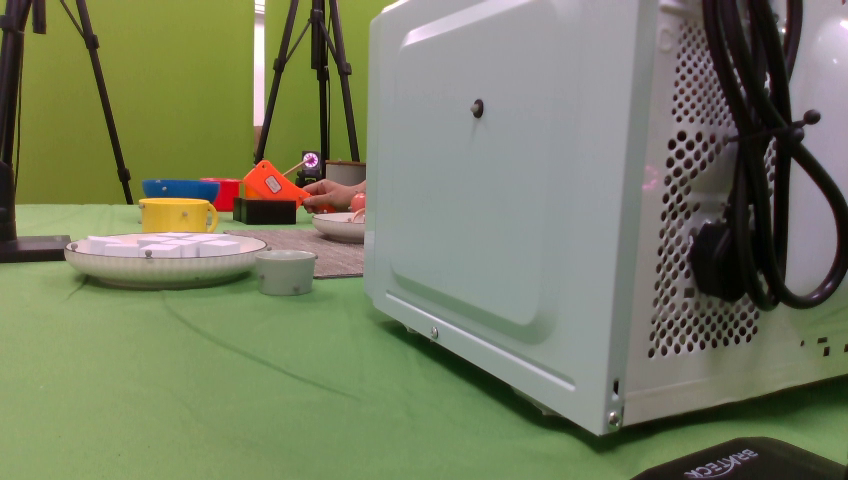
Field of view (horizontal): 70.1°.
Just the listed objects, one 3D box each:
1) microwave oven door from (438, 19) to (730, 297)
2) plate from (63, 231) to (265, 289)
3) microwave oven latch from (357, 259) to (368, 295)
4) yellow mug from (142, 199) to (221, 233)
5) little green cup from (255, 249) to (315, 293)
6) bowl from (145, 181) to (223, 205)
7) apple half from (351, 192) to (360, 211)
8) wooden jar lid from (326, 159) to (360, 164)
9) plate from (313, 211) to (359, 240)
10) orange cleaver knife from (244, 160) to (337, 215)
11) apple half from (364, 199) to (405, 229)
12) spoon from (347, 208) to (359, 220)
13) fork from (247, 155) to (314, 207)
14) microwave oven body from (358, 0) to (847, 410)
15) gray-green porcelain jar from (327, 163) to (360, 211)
[{"bbox_3d":[0.181,-0.076,0.618,0.358,0.243,0.039,-2,8,-28],"label":"microwave oven door"},{"bbox_3d":[-0.288,0.021,0.687,0.208,0.039,0.207,2,8,0],"label":"plate"},{"bbox_3d":[-0.019,0.031,0.529,0.079,0.029,0.030,-1,7,-26],"label":"microwave oven latch"},{"bbox_3d":[-0.373,-0.030,0.948,0.099,0.064,0.131,6,7,30],"label":"yellow mug"},{"bbox_3d":[-0.144,0.032,0.627,0.061,0.038,0.061,2,5,0],"label":"little green cup"},{"bbox_3d":[-0.499,-0.081,1.261,0.151,0.077,0.151,2,8,0],"label":"bowl"},{"bbox_3d":[-0.105,-0.065,1.260,0.081,0.074,0.053,1,10,-34],"label":"apple half"},{"bbox_3d":[-0.185,-0.187,1.481,0.108,0.020,0.108,4,6,0],"label":"wooden jar lid"},{"bbox_3d":[-0.091,-0.026,1.063,0.209,0.038,0.209,2,7,0],"label":"plate"},{"bbox_3d":[-0.283,-0.096,1.302,0.212,0.077,0.012,32,-9,-32],"label":"orange cleaver knife"},{"bbox_3d":[-0.073,-0.053,1.095,0.081,0.032,0.081,-18,-29,-10],"label":"apple half"},{"bbox_3d":[-0.123,-0.047,1.117,0.041,0.021,0.194,-8,17,18],"label":"spoon"},{"bbox_3d":[-0.360,-0.147,1.522,0.207,0.018,0.028,-43,7,-7],"label":"fork"},{"bbox_3d":[0.210,-0.051,0.471,0.444,0.260,0.324,-1,7,-28],"label":"microwave oven body"},{"bbox_3d":[-0.187,-0.125,1.490,0.106,0.126,0.106,2,8,0],"label":"gray-green porcelain jar"}]
